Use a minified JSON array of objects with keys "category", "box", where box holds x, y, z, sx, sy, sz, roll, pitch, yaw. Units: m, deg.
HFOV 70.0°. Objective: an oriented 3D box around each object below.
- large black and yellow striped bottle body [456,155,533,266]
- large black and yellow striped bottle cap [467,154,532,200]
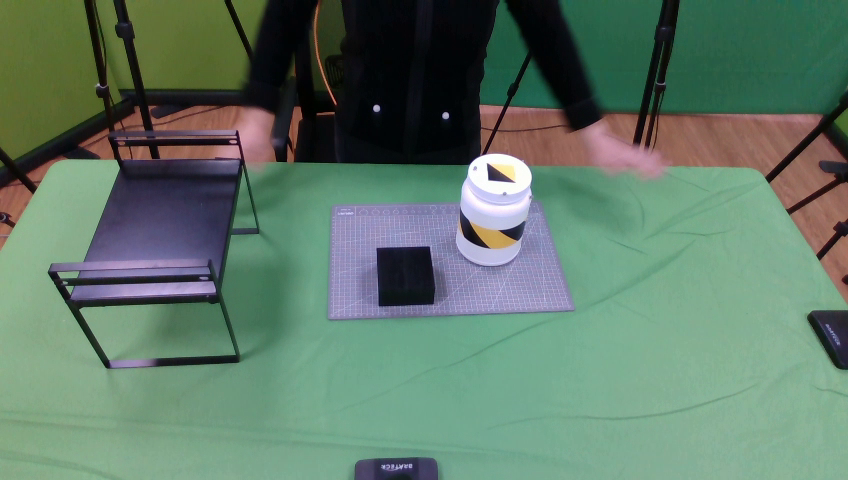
[{"category":"large black and yellow striped bottle body","box":[0.132,-0.056,1.142,0.131,0.185,0.130,2,46,-2]},{"category":"large black and yellow striped bottle cap","box":[0.135,-0.114,1.082,0.115,0.019,0.114,3,46,-3]}]
